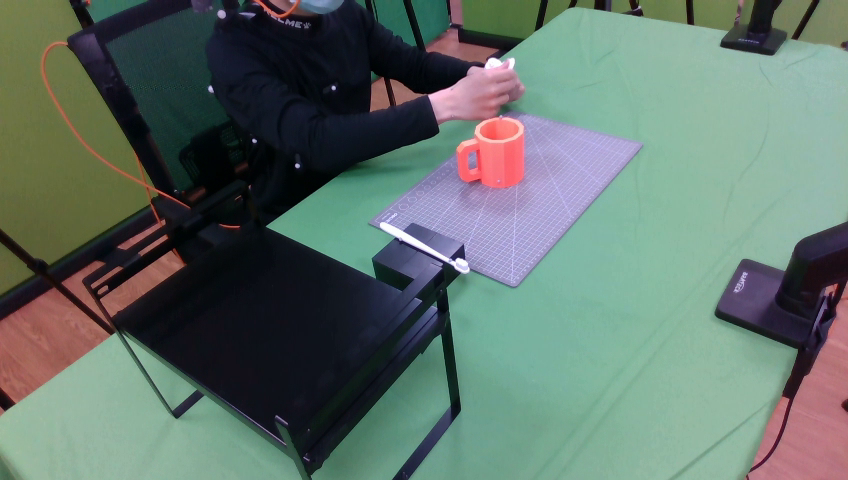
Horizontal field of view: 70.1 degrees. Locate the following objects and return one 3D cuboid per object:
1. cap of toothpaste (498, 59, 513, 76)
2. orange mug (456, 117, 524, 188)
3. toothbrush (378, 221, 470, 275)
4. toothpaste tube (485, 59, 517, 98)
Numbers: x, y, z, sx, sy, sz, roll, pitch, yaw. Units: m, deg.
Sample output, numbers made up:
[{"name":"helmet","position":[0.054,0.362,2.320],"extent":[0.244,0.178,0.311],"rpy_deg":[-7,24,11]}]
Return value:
[{"name":"cap of toothpaste","position":[0.152,-0.323,1.128],"extent":[0.011,0.037,0.037],"rpy_deg":[26,30,-28]},{"name":"orange mug","position":[0.117,-0.152,1.071],"extent":[0.127,0.101,0.083],"rpy_deg":[-14,41,-14]},{"name":"toothbrush","position":[-0.004,0.007,0.894],"extent":[0.180,0.017,0.014],"rpy_deg":[27,55,34]},{"name":"toothpaste tube","position":[0.151,-0.321,1.215],"extent":[0.055,0.166,0.034],"rpy_deg":[0,82,15]}]
